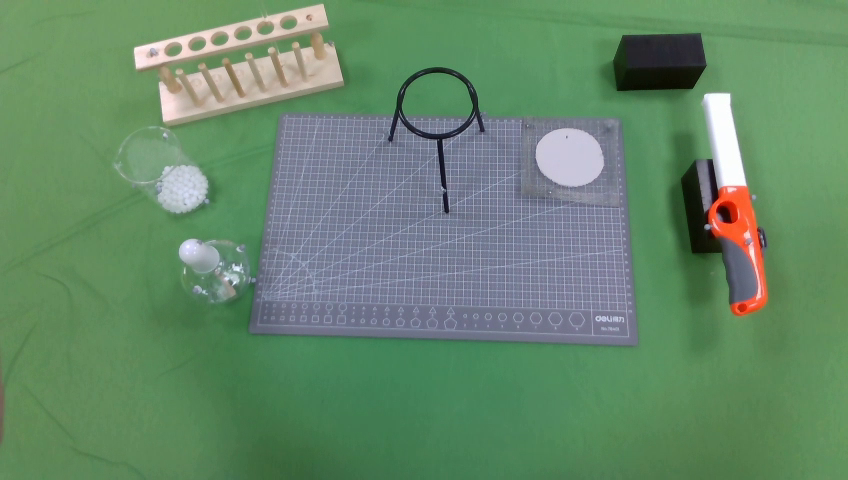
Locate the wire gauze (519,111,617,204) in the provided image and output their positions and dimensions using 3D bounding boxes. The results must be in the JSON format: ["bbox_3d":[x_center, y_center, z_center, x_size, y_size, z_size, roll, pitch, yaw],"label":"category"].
[{"bbox_3d":[0.184,-0.109,0.770,0.125,0.011,0.120,6,70,2],"label":"wire gauze"}]

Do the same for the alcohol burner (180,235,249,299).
[{"bbox_3d":[-0.242,0.025,0.684,0.078,0.120,0.077,0,68,1],"label":"alcohol burner"}]

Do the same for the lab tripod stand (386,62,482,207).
[{"bbox_3d":[0.016,-0.130,0.717,0.148,0.132,0.147,0,71,0],"label":"lab tripod stand"}]

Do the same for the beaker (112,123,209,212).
[{"bbox_3d":[-0.313,-0.082,0.732,0.084,0.101,0.073,-11,69,-1],"label":"beaker"}]

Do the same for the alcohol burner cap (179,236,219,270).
[{"bbox_3d":[-0.245,0.012,0.651,0.034,0.048,0.033,0,73,1],"label":"alcohol burner cap"}]

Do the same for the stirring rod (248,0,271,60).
[{"bbox_3d":[-0.204,-0.287,0.725,0.014,0.177,0.005,8,58,4],"label":"stirring rod"}]

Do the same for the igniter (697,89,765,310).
[{"bbox_3d":[0.345,-0.053,0.687,0.057,0.025,0.274,0,67,5],"label":"igniter"}]

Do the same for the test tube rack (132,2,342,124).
[{"bbox_3d":[-0.238,-0.229,0.790,0.242,0.086,0.066,-14,70,-3],"label":"test tube rack"}]
